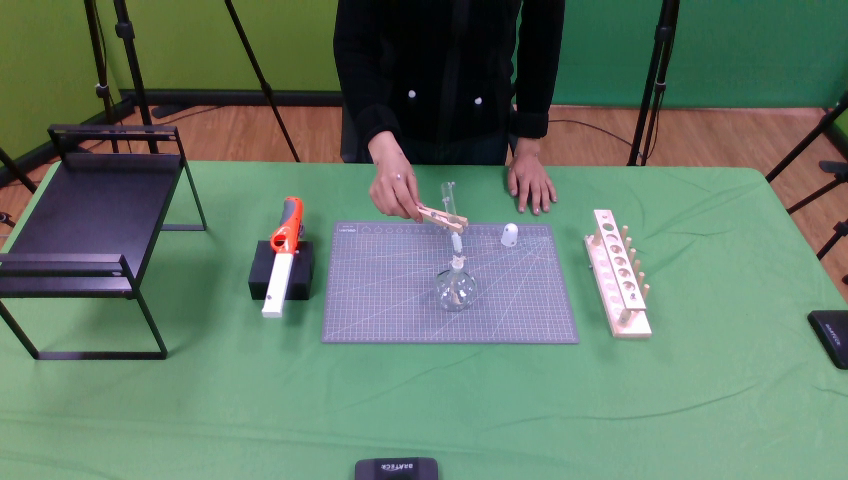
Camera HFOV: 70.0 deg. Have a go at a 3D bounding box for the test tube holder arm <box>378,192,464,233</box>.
[{"bbox_3d":[-0.009,-0.047,0.991,0.177,0.015,0.013,22,51,33],"label":"test tube holder arm"}]

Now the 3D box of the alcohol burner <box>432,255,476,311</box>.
[{"bbox_3d":[0.055,0.070,1.068,0.078,0.119,0.077,3,45,-3],"label":"alcohol burner"}]

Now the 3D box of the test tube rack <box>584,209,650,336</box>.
[{"bbox_3d":[0.365,0.056,1.129,0.067,0.085,0.240,1,46,-4],"label":"test tube rack"}]

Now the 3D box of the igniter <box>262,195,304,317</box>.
[{"bbox_3d":[-0.252,0.020,1.090,0.057,0.025,0.275,0,49,-1],"label":"igniter"}]

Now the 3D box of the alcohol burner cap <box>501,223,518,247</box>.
[{"bbox_3d":[0.172,-0.013,1.207,0.034,0.048,0.033,1,45,0],"label":"alcohol burner cap"}]

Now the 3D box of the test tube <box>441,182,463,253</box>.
[{"bbox_3d":[0.045,-0.032,0.952,0.017,0.151,0.017,-6,47,7],"label":"test tube"}]

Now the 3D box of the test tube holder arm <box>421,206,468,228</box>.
[{"bbox_3d":[0.030,-0.037,0.971,0.087,0.015,0.010,16,49,28],"label":"test tube holder arm"}]
